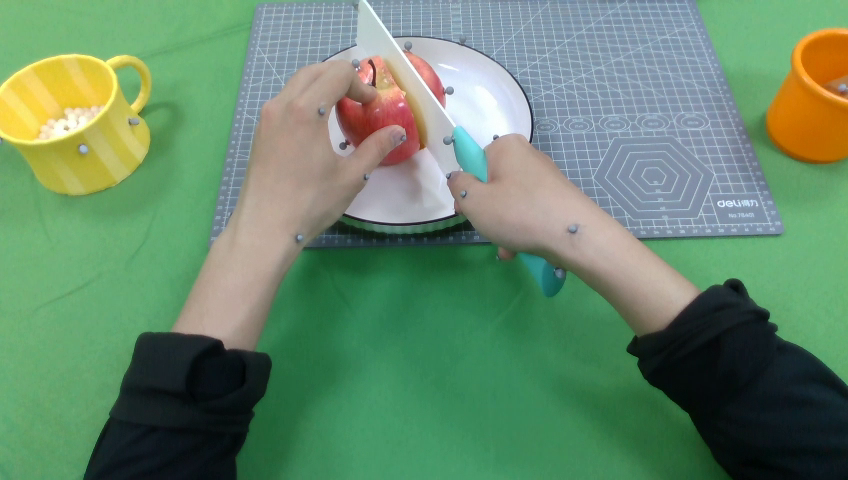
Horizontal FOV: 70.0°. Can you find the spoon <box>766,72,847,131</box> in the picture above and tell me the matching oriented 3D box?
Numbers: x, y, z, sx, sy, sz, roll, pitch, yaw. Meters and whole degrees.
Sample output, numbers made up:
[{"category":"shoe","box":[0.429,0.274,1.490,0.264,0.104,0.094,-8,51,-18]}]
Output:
[{"category":"spoon","box":[0.367,-0.144,0.471,0.022,0.194,0.041,24,46,-36]}]

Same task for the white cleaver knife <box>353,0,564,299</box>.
[{"category":"white cleaver knife","box":[0.015,-0.074,0.453,0.021,0.066,0.284,-24,66,-18]}]

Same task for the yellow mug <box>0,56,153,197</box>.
[{"category":"yellow mug","box":[-0.283,-0.106,0.512,0.099,0.064,0.130,29,62,18]}]

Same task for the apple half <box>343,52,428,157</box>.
[{"category":"apple half","box":[-0.033,-0.100,0.481,0.053,0.075,0.080,-40,63,-6]}]

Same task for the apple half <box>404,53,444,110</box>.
[{"category":"apple half","box":[-0.003,-0.115,0.494,0.033,0.082,0.080,-25,60,-18]}]

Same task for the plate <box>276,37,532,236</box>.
[{"category":"plate","box":[-0.016,-0.087,0.507,0.209,0.038,0.207,0,58,1]}]
